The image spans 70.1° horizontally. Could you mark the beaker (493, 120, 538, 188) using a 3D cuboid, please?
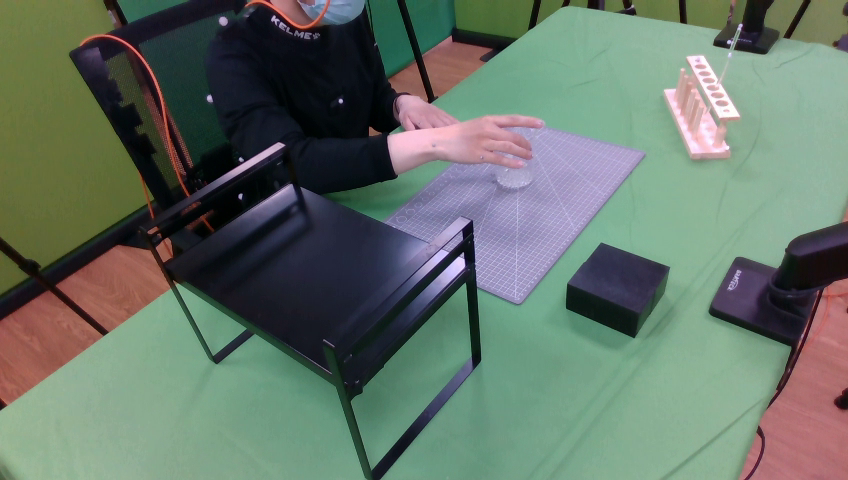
[{"bbox_3d":[0.162,-0.149,1.056,0.084,0.101,0.073,-24,43,-19],"label":"beaker"}]

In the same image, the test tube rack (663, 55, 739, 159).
[{"bbox_3d":[0.517,-0.256,1.144,0.066,0.085,0.241,-1,41,8],"label":"test tube rack"}]

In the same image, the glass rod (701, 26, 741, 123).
[{"bbox_3d":[0.527,-0.288,1.078,0.008,0.200,0.008,-1,49,2],"label":"glass rod"}]
